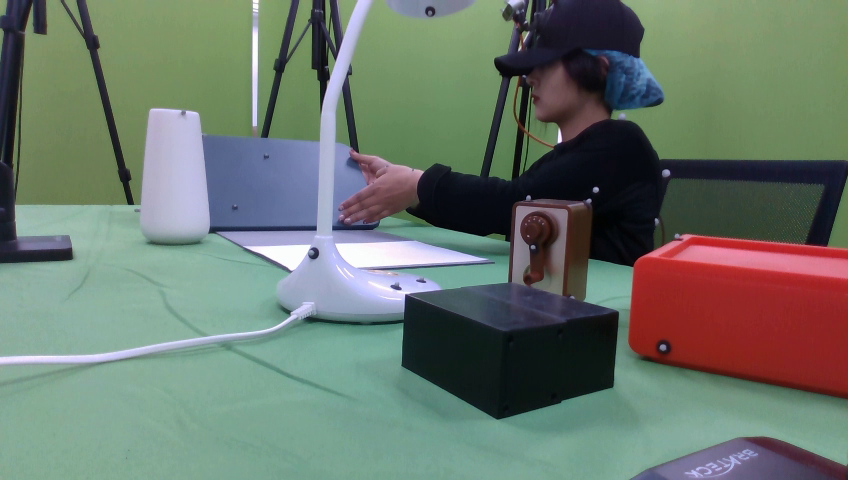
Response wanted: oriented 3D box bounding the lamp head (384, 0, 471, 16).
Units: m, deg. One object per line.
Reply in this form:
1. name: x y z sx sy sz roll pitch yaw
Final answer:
1. lamp head: -0.001 -0.301 0.599 0.112 0.112 0.123 4 -30 14

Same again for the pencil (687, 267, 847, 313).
1. pencil: 0.308 0.044 0.515 0.194 0.012 0.012 13 5 -12

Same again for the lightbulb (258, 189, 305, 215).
1. lightbulb: -0.325 -0.081 1.382 0.108 0.059 0.059 -15 9 -5

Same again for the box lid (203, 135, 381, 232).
1. box lid: -0.282 -0.115 1.201 0.373 0.015 0.262 -2 48 -28

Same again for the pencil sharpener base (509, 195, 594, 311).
1. pencil sharpener base: 0.126 0.011 0.601 0.061 0.107 0.077 7 9 30

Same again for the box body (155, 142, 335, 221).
1. box body: -0.410 -0.135 1.386 0.366 0.160 0.253 -2 9 -29

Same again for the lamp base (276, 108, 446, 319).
1. lamp base: -0.061 -0.027 0.556 0.160 0.180 0.180 4 10 20

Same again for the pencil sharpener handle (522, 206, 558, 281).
1. pencil sharpener handle: 0.102 0.003 0.555 0.036 0.067 0.031 0 5 31

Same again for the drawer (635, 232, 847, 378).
1. drawer: 0.292 0.044 0.488 0.193 0.073 0.213 7 9 30

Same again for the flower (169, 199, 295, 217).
1. flower: -0.424 -0.070 1.399 0.044 0.038 0.363 -2 0 30

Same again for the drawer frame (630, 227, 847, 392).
1. drawer frame: 0.292 0.043 0.484 0.201 0.082 0.214 7 9 29

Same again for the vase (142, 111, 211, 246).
1. vase: -0.378 -0.093 0.920 0.098 0.200 0.098 2 9 0
